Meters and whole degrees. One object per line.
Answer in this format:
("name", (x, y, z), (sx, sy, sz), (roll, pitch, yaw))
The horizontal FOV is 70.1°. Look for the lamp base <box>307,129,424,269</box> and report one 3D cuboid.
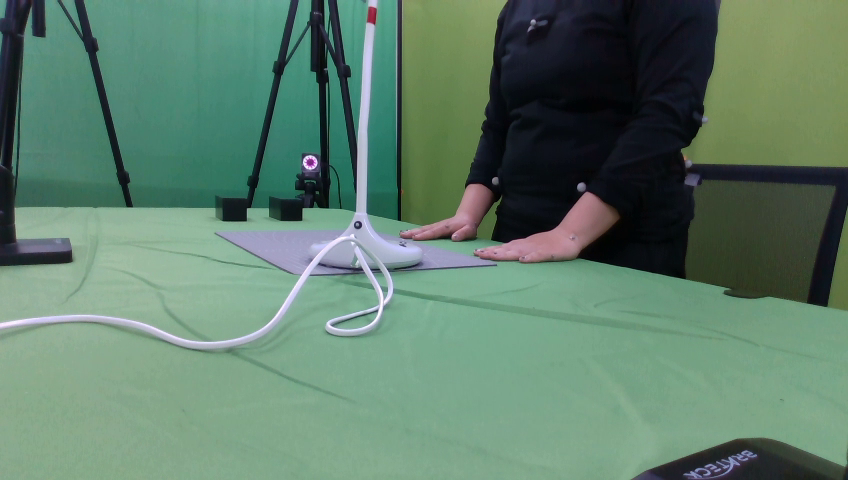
("lamp base", (-0.076, -0.057, 0.811), (0.161, 0.180, 0.179), (2, 10, -4))
